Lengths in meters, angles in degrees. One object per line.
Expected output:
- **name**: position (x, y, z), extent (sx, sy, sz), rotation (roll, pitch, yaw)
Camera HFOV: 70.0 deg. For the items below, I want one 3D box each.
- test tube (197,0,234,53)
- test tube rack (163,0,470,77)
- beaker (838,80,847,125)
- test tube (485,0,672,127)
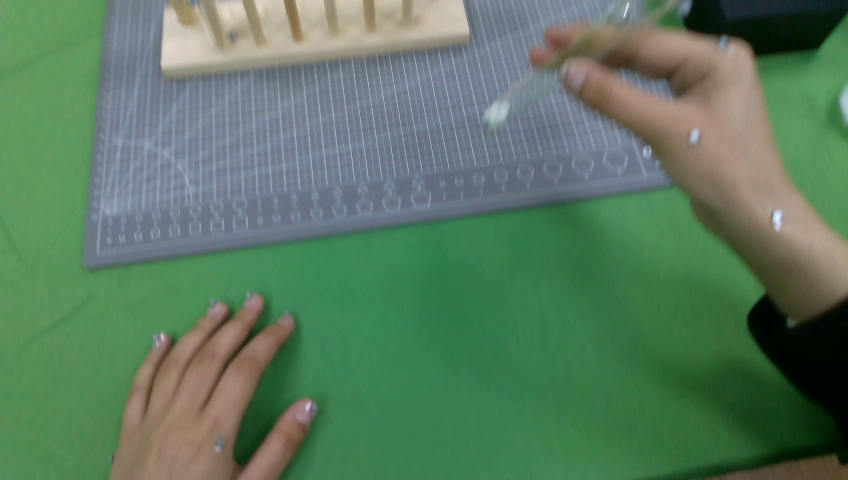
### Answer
- **test tube**: position (-0.154, -0.185, 0.409), extent (0.017, 0.151, 0.017), rotation (1, 63, -2)
- **test tube rack**: position (-0.088, -0.192, 0.461), extent (0.242, 0.086, 0.066), rotation (-8, 65, -3)
- **beaker**: position (0.349, -0.120, 0.420), extent (0.074, 0.101, 0.083), rotation (-7, 64, -2)
- **test tube**: position (0.073, -0.093, 0.315), extent (0.017, 0.150, 0.017), rotation (6, 74, -24)
